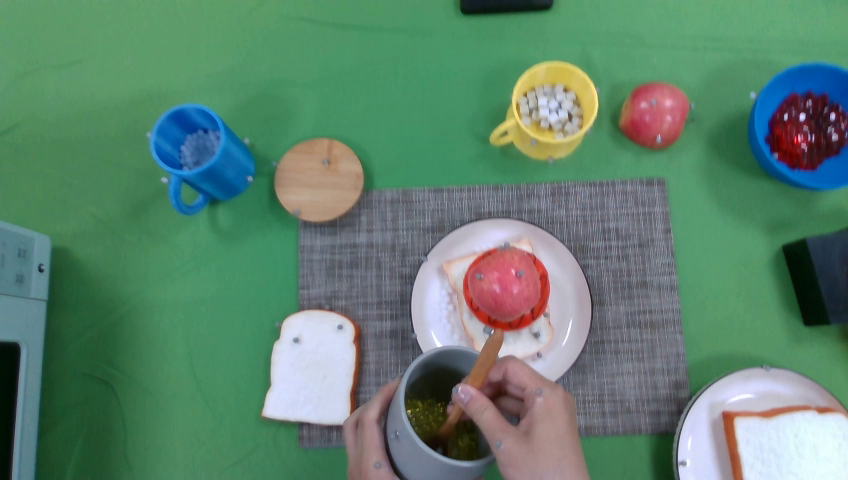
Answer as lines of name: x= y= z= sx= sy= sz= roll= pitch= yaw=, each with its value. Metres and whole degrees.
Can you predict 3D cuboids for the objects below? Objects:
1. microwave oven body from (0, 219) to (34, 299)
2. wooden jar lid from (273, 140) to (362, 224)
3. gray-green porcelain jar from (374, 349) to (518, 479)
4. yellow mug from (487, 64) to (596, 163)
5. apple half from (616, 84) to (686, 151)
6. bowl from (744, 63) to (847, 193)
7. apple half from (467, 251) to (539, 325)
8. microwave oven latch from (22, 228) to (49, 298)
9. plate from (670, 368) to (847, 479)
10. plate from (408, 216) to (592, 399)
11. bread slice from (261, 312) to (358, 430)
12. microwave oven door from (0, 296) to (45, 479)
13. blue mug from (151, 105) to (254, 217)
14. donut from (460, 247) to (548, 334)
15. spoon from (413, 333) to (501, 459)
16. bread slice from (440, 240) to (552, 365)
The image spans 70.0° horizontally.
microwave oven body: x=-0.604 y=0.188 z=0.580 sx=0.326 sy=0.261 sz=0.440 roll=-2 pitch=80 yaw=1
wooden jar lid: x=-0.129 y=-0.069 z=0.740 sx=0.108 sy=0.021 sz=0.108 roll=0 pitch=76 yaw=2
gray-green porcelain jar: x=0.014 y=0.173 z=0.551 sx=0.106 sy=0.127 sz=0.105 roll=10 pitch=52 yaw=-12
yellow mug: x=0.136 y=-0.144 z=0.728 sx=0.131 sy=0.064 sz=0.099 roll=-26 pitch=80 yaw=-3
apple half: x=0.278 y=-0.154 z=0.734 sx=0.074 sy=0.053 sz=0.080 roll=20 pitch=81 yaw=7
bowl: x=0.441 y=-0.120 z=0.711 sx=0.151 sy=0.077 sz=0.151 roll=0 pitch=80 yaw=2
apple half: x=0.085 y=0.049 z=0.640 sx=0.081 sy=0.033 sz=0.081 roll=-2 pitch=78 yaw=8
microwave oven latch: x=-0.459 y=0.027 z=0.704 sx=0.030 sy=0.029 sz=0.079 roll=2 pitch=80 yaw=1
plate: x=0.372 y=0.247 z=0.667 sx=0.209 sy=0.038 sz=0.208 roll=0 pitch=80 yaw=1
plate: x=0.086 y=0.078 z=0.699 sx=0.207 sy=0.039 sz=0.207 roll=0 pitch=80 yaw=1
bread slice: x=-0.130 y=0.149 z=0.702 sx=0.105 sy=0.019 sz=0.131 roll=5 pitch=81 yaw=1
microwave oven door: x=-0.457 y=0.224 z=0.565 sx=0.039 sy=0.244 sz=0.354 roll=-2 pitch=79 yaw=1
blue mug: x=-0.260 y=-0.082 z=0.704 sx=0.082 sy=0.106 sz=0.116 roll=18 pitch=80 yaw=5
donut: x=0.089 y=0.056 z=0.675 sx=0.099 sy=0.048 sz=0.098 roll=0 pitch=80 yaw=2
spoon: x=0.023 y=0.146 z=0.514 sx=0.041 sy=0.195 sz=0.021 roll=27 pitch=38 yaw=1
bread slice: x=0.090 y=0.076 z=0.701 sx=0.107 sy=0.018 sz=0.133 roll=-20 pitch=80 yaw=-1
